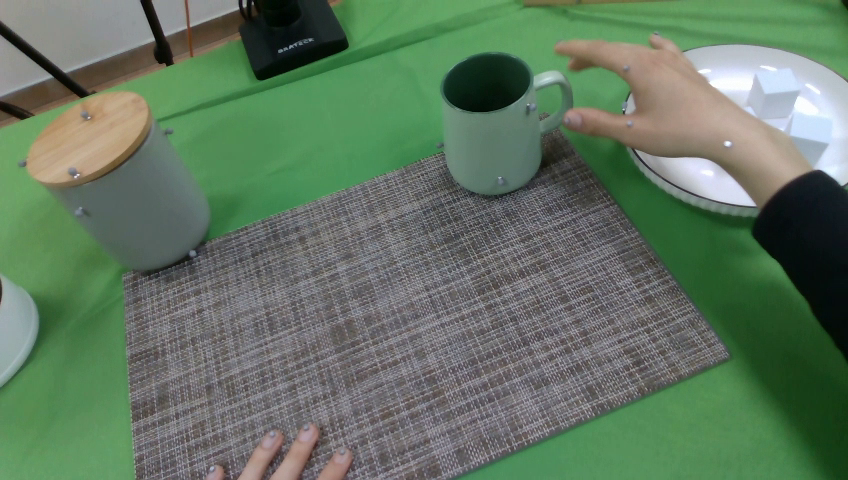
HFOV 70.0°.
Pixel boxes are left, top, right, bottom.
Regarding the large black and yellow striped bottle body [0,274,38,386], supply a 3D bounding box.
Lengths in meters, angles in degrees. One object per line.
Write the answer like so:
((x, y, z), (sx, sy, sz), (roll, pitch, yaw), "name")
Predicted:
((-0.432, 0.049, 0.489), (0.130, 0.186, 0.129), (-5, 55, 7), "large black and yellow striped bottle body")

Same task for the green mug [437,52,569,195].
((0.073, -0.109, 0.551), (0.125, 0.106, 0.091), (-22, 54, -5), "green mug")

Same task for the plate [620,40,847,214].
((0.285, -0.103, 0.552), (0.207, 0.039, 0.205), (-5, 54, 8), "plate")

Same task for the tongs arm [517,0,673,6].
((0.284, -0.274, 0.646), (0.385, 0.028, 0.028), (7, 50, 26), "tongs arm")

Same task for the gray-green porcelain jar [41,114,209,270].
((-0.268, -0.042, 0.556), (0.106, 0.128, 0.105), (-6, 50, 8), "gray-green porcelain jar")

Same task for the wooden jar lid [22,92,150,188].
((-0.279, -0.081, 0.508), (0.108, 0.021, 0.107), (-7, 54, 10), "wooden jar lid")
